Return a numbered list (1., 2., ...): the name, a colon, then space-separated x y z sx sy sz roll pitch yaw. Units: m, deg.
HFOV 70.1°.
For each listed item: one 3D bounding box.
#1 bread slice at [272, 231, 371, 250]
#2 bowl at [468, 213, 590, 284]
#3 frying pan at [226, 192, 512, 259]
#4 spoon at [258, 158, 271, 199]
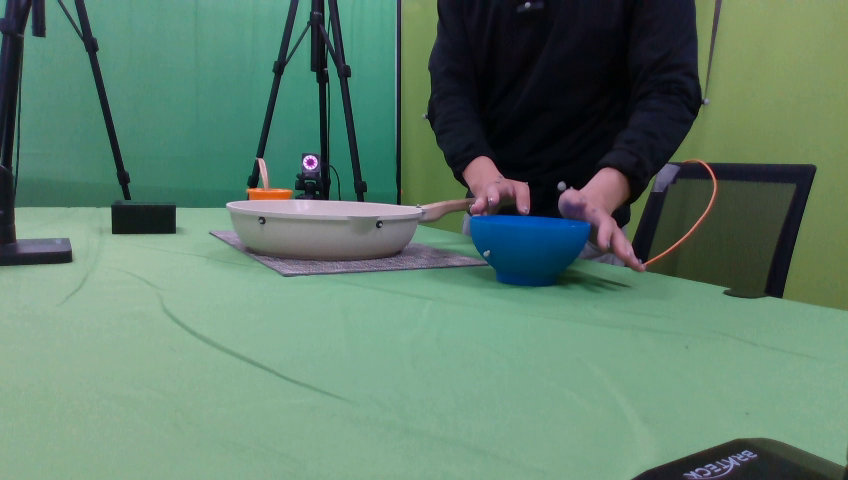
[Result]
1. bread slice: -0.148 0.001 0.929 0.133 0.018 0.107 5 7 38
2. bowl: 0.128 0.010 0.755 0.151 0.077 0.151 2 7 0
3. frying pan: -0.058 -0.041 0.974 0.490 0.102 0.305 -11 13 -26
4. spoon: -0.332 -0.107 1.269 0.042 0.021 0.193 0 53 -23
